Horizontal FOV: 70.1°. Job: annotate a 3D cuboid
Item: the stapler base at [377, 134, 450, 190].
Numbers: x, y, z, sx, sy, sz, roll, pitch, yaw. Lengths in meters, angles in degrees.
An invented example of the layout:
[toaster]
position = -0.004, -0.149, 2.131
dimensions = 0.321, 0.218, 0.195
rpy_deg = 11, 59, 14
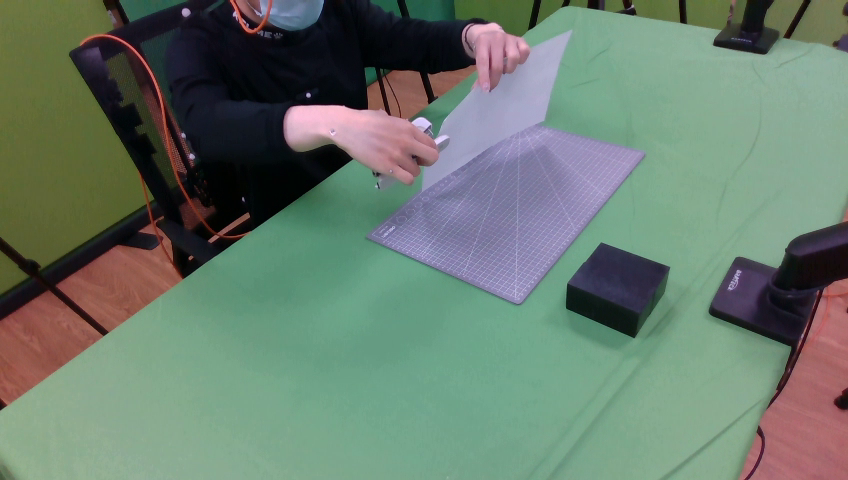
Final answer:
[stapler base]
position = -0.020, -0.124, 0.902
dimensions = 0.131, 0.041, 0.024
rpy_deg = -36, 78, -14

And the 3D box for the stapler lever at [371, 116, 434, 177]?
[stapler lever]
position = -0.036, -0.142, 0.905
dimensions = 0.118, 0.027, 0.040
rpy_deg = -36, 78, -14
